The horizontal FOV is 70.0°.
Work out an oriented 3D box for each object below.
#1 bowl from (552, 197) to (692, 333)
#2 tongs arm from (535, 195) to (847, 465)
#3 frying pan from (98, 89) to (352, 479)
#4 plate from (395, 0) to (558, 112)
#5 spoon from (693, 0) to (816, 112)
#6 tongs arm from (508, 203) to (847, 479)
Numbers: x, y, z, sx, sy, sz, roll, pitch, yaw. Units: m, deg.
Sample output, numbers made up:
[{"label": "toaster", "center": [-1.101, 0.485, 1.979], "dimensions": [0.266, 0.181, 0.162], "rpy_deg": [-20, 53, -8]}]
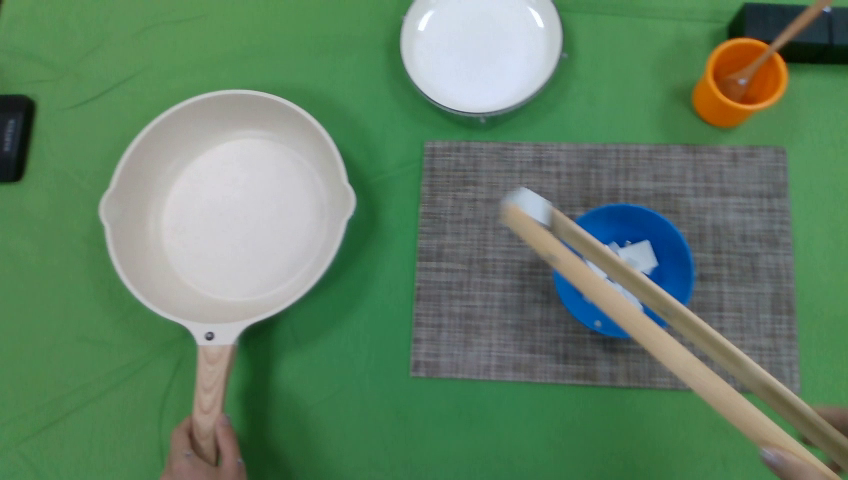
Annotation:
[{"label": "bowl", "center": [0.217, 0.034, 0.694], "dimensions": [0.151, 0.077, 0.150], "rpy_deg": [-1, 79, 4]}, {"label": "tongs arm", "center": [0.233, 0.082, 0.535], "dimensions": [0.381, 0.027, 0.051], "rpy_deg": [41, 40, 26]}, {"label": "frying pan", "center": [-0.236, 0.060, 0.709], "dimensions": [0.307, 0.103, 0.484], "rpy_deg": [-1, 70, 4]}, {"label": "plate", "center": [0.067, -0.261, 0.786], "dimensions": [0.207, 0.039, 0.206], "rpy_deg": [-1, 79, 4]}, {"label": "spoon", "center": [0.393, -0.226, 0.702], "dimensions": [0.022, 0.194, 0.041], "rpy_deg": [-23, 68, -46]}, {"label": "tongs arm", "center": [0.212, 0.088, 0.516], "dimensions": [0.384, 0.028, 0.028], "rpy_deg": [43, 127, 28]}]
